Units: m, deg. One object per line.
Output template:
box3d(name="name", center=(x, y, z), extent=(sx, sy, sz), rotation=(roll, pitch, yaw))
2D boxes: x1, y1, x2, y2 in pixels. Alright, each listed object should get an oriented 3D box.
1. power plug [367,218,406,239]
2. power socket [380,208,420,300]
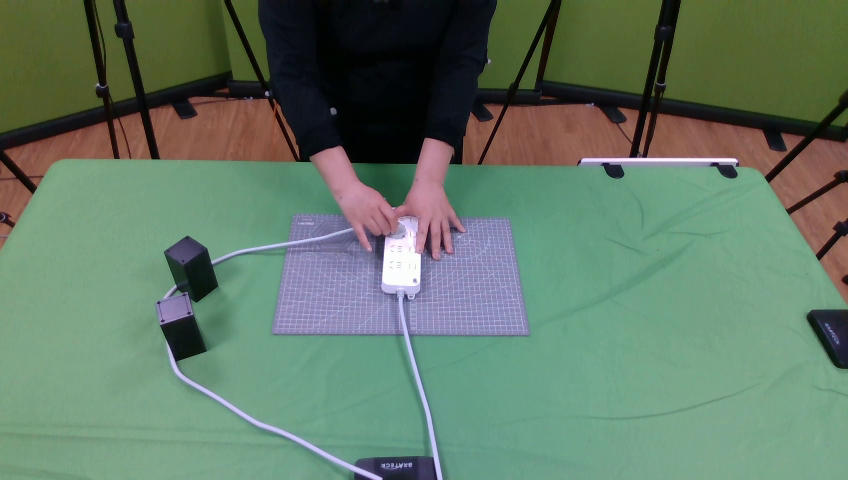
box3d(name="power plug", center=(-0.070, -0.021, 1.175), extent=(0.072, 0.053, 0.035), rotation=(12, 48, 9))
box3d(name="power socket", center=(-0.044, 0.018, 1.165), extent=(0.072, 0.033, 0.225), rotation=(2, 46, -2))
